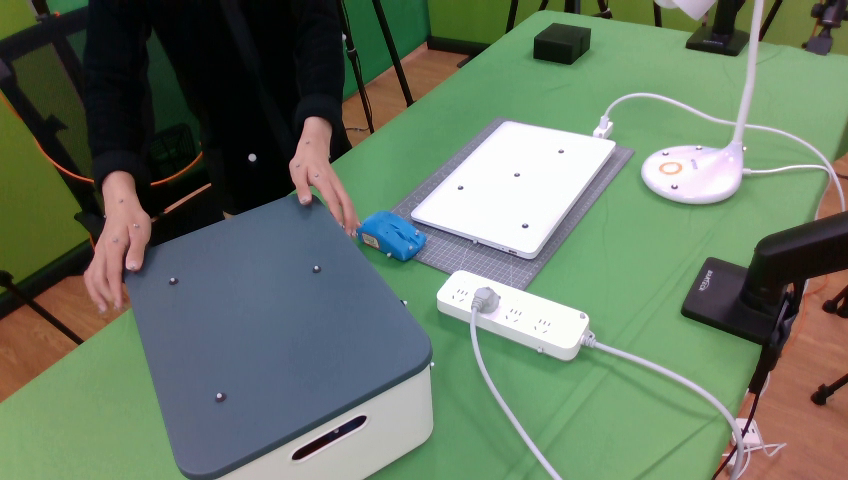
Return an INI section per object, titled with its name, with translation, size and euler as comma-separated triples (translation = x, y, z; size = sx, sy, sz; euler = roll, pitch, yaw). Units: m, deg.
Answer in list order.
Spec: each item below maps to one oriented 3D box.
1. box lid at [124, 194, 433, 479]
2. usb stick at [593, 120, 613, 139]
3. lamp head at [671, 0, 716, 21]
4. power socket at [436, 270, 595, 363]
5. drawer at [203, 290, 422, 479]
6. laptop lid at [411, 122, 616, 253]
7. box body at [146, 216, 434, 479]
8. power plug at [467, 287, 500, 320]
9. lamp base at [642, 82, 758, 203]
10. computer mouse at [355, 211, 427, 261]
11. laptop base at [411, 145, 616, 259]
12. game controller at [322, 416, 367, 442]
[box lid]
translation = -0.182, 0.076, 0.689
size = 0.264, 0.015, 0.368
euler = -24, 42, -20
[usb stick]
translation = 0.336, -0.201, 1.146
size = 0.021, 0.027, 0.059
euler = 25, 52, 27
[lamp head]
translation = 0.375, -0.373, 0.807
size = 0.122, 0.113, 0.112
euler = -40, 27, 32
[power socket]
translation = 0.118, 0.101, 0.832
size = 0.225, 0.033, 0.072
euler = 19, 48, 27
[drawer]
translation = -0.136, 0.188, 0.740
size = 0.195, 0.073, 0.210
euler = -24, 52, -22
[laptop lid]
translation = 0.165, -0.111, 1.067
size = 0.240, 0.013, 0.357
euler = 19, 46, 31
[box body]
translation = -0.175, 0.131, 0.738
size = 0.255, 0.161, 0.360
euler = -25, 43, -19
[power plug]
translation = 0.073, 0.092, 0.814
size = 0.035, 0.053, 0.073
euler = 29, 54, 34
[lamp base]
translation = 0.464, -0.174, 0.992
size = 0.179, 0.181, 0.159
euler = -5, 41, -1
[computer mouse]
translation = -0.055, -0.010, 0.979
size = 0.116, 0.041, 0.063
euler = 27, 49, 29
[laptop base]
translation = 0.168, -0.101, 1.073
size = 0.234, 0.023, 0.355
euler = 17, 46, 31
[game controller]
translation = -0.120, 0.158, 0.676
size = 0.154, 0.052, 0.097
euler = 18, 49, 28
